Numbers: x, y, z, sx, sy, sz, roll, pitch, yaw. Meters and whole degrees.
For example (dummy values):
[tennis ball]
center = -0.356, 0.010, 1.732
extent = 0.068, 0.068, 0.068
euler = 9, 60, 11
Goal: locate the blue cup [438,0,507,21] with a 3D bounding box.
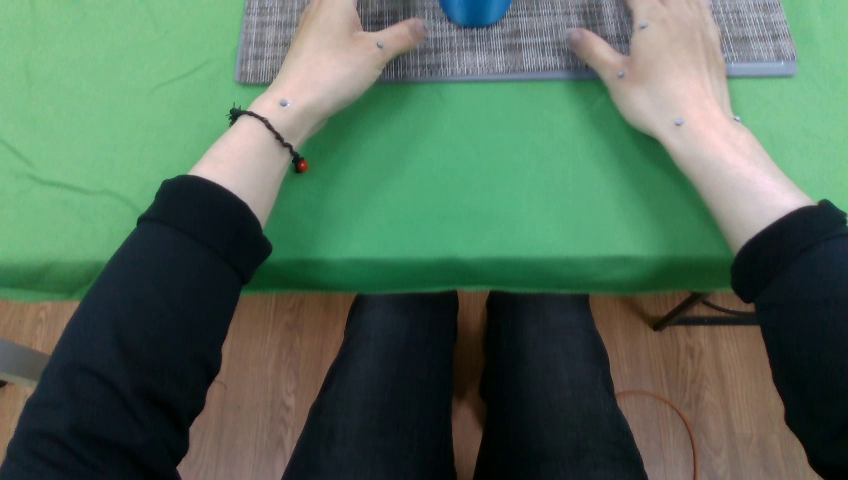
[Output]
[blue cup]
center = 0.039, -0.227, 0.467
extent = 0.092, 0.101, 0.092
euler = -1, 70, 2
